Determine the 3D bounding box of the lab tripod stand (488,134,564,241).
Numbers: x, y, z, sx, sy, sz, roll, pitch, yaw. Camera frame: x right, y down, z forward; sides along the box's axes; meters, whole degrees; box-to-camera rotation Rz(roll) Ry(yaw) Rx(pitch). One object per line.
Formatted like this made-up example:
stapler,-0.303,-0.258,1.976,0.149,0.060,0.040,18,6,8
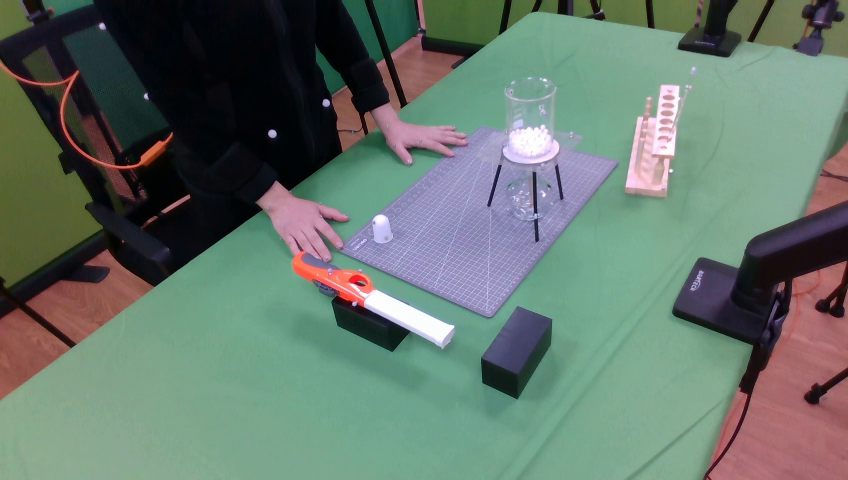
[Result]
lab tripod stand,0.168,-0.092,0.972,0.148,0.132,0.147,-5,41,5

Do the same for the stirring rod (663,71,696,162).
stirring rod,0.410,-0.195,0.982,0.014,0.177,0.006,12,50,14

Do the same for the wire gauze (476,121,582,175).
wire gauze,0.162,-0.142,0.929,0.120,0.011,0.125,19,49,32

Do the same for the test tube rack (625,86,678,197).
test tube rack,0.412,-0.184,1.088,0.066,0.085,0.242,9,43,18

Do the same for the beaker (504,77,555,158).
beaker,0.160,-0.181,0.900,0.084,0.101,0.073,-32,46,-27

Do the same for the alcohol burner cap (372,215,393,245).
alcohol burner cap,-0.070,-0.019,0.990,0.034,0.048,0.033,-4,41,4

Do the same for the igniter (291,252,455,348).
igniter,-0.080,0.076,0.822,0.274,0.025,0.057,23,45,27

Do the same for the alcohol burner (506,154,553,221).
alcohol burner,0.171,-0.090,0.984,0.078,0.119,0.077,-5,42,5
